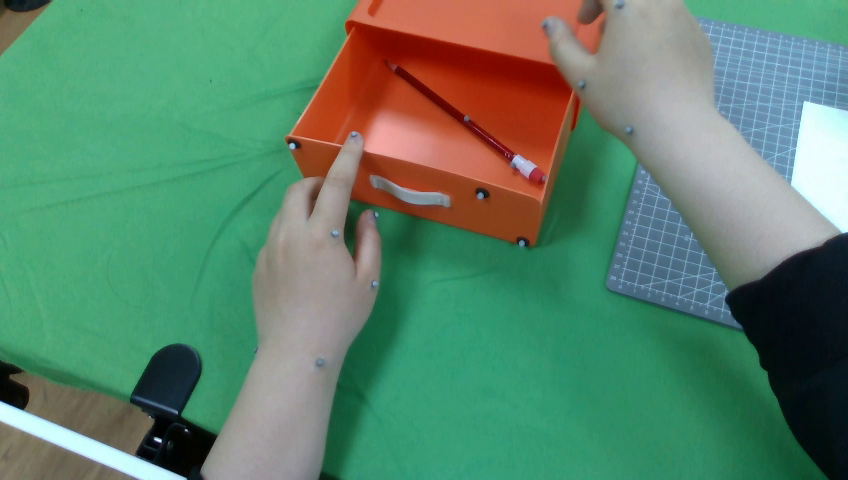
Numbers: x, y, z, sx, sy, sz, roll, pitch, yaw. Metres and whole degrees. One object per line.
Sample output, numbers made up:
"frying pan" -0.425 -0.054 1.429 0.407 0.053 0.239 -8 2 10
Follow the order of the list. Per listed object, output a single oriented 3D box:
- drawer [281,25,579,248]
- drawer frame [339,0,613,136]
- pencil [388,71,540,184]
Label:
"drawer" 0.021 -0.115 0.497 0.194 0.074 0.210 15 61 13
"drawer frame" 0.061 -0.215 0.544 0.201 0.083 0.212 16 63 13
"pencil" 0.025 -0.104 0.522 0.012 0.012 0.192 -40 62 -16
